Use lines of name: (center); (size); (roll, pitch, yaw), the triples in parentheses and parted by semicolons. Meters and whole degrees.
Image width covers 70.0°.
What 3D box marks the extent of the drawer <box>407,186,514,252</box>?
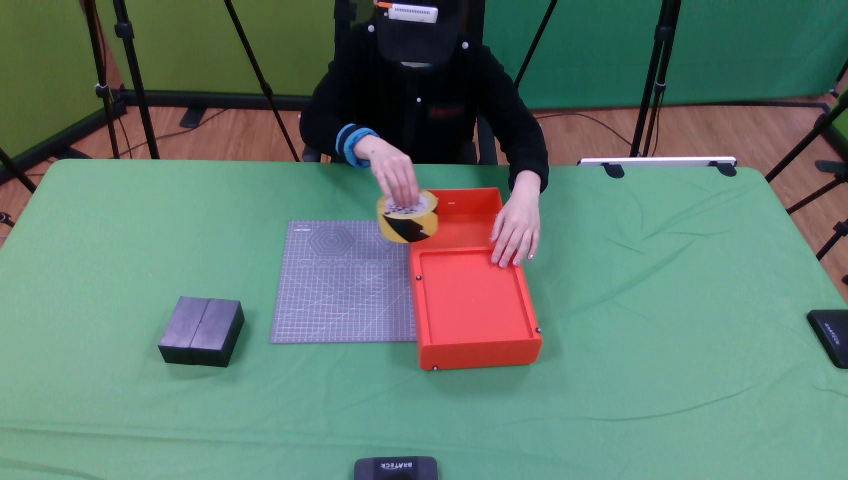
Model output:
drawer: (0.066, -0.011, 1.171); (0.195, 0.073, 0.210); (-1, 45, -6)

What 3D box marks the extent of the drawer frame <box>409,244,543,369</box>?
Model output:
drawer frame: (0.082, 0.110, 1.052); (0.202, 0.083, 0.212); (-2, 47, -7)

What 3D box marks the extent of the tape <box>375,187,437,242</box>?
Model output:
tape: (-0.033, -0.048, 1.105); (0.117, 0.053, 0.116); (-2, 34, 1)
